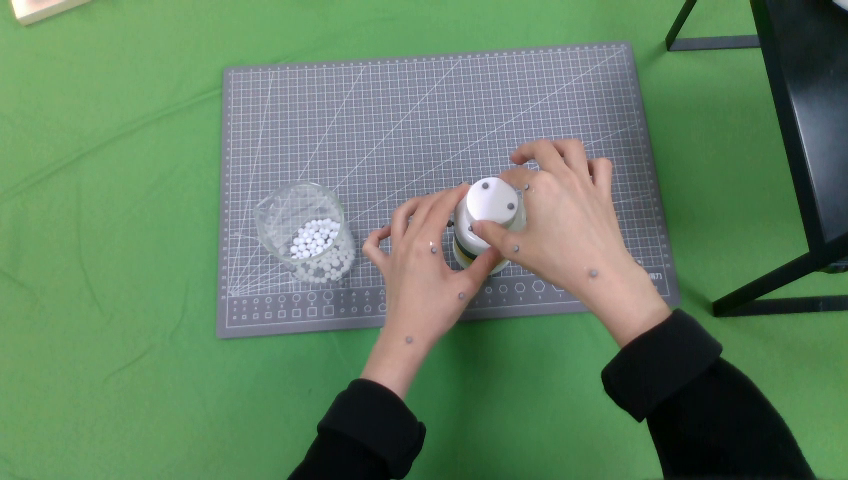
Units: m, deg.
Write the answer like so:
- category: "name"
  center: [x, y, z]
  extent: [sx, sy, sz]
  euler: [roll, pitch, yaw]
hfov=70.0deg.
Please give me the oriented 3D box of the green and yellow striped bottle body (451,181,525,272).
- category: "green and yellow striped bottle body"
  center: [0.056, -0.015, 0.551]
  extent: [0.063, 0.120, 0.063]
  euler: [0, 73, 2]

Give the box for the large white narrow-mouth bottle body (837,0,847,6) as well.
- category: "large white narrow-mouth bottle body"
  center: [0.353, -0.247, 0.394]
  extent: [0.102, 0.196, 0.101]
  euler: [-1, 72, 2]

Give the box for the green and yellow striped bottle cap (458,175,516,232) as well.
- category: "green and yellow striped bottle cap"
  center: [0.052, -0.030, 0.496]
  extent: [0.045, 0.020, 0.045]
  euler: [4, 63, -7]

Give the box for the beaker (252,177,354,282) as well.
- category: "beaker"
  center: [-0.107, -0.005, 0.560]
  extent: [0.084, 0.101, 0.073]
  euler: [16, 73, 6]

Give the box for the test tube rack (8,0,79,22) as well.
- category: "test tube rack"
  center: [-0.364, -0.338, 0.671]
  extent: [0.242, 0.085, 0.066]
  euler: [-24, 74, -7]
